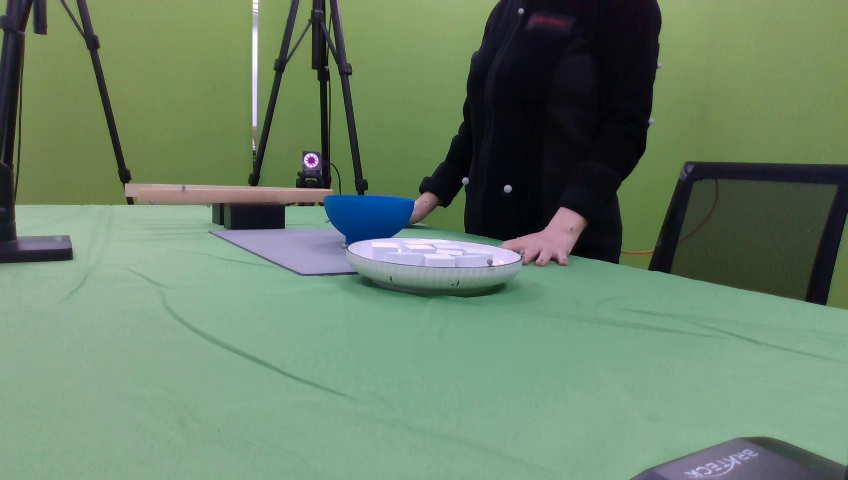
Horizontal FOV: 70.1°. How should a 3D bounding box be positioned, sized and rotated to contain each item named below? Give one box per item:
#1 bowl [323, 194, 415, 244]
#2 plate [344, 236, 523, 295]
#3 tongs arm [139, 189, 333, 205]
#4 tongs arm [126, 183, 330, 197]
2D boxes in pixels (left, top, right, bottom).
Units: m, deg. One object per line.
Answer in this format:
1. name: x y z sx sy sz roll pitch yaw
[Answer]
1. bowl: -0.091 -0.032 0.986 0.151 0.077 0.151 2 7 0
2. plate: 0.010 0.030 0.707 0.208 0.039 0.207 3 8 0
3. tongs arm: -0.336 -0.084 1.146 0.387 0.026 0.050 -3 9 -38
4. tongs arm: -0.380 -0.096 1.211 0.389 0.028 0.028 -1 4 -25
